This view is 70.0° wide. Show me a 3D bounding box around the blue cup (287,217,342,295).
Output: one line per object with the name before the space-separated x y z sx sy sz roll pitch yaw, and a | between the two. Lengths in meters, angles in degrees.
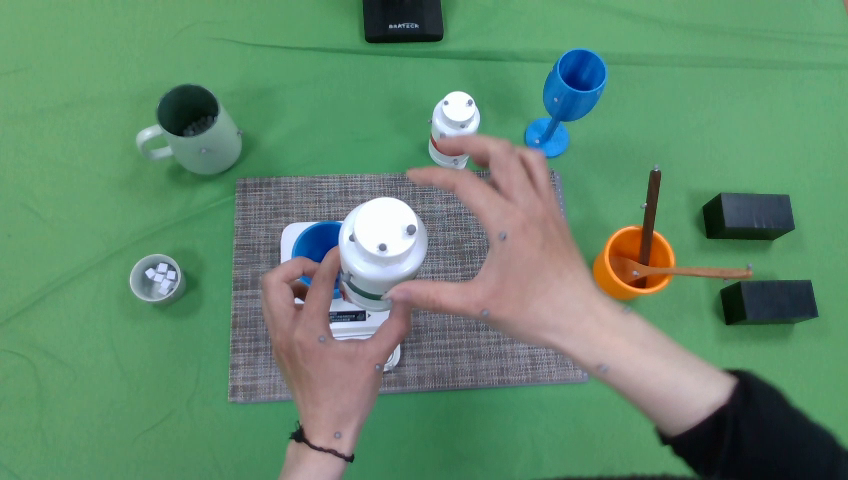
blue cup | -0.113 0.027 0.726 0.093 0.100 0.092 1 75 -5

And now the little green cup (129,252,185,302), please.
little green cup | -0.337 0.050 0.772 0.061 0.039 0.061 2 73 -5

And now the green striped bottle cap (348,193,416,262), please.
green striped bottle cap | -0.028 -0.009 0.405 0.044 0.020 0.044 3 69 -8

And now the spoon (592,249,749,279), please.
spoon | 0.305 0.033 0.767 0.022 0.192 0.041 21 75 -43

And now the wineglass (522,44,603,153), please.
wineglass | 0.181 -0.184 0.810 0.074 0.173 0.073 1 72 -3

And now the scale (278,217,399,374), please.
scale | -0.112 0.067 0.783 0.149 0.032 0.199 -3 74 -5

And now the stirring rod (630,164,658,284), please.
stirring rod | 0.283 -0.016 0.780 0.014 0.177 0.006 2 32 10

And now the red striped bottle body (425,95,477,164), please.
red striped bottle body | 0.036 -0.155 0.820 0.063 0.120 0.062 1 73 -4

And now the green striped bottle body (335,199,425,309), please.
green striped bottle body | -0.034 0.009 0.453 0.063 0.120 0.063 3 70 -7

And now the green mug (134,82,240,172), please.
green mug | -0.314 -0.141 0.797 0.125 0.105 0.092 -24 76 -10

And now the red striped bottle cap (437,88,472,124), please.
red striped bottle cap | 0.039 -0.171 0.768 0.044 0.018 0.044 1 70 -3
